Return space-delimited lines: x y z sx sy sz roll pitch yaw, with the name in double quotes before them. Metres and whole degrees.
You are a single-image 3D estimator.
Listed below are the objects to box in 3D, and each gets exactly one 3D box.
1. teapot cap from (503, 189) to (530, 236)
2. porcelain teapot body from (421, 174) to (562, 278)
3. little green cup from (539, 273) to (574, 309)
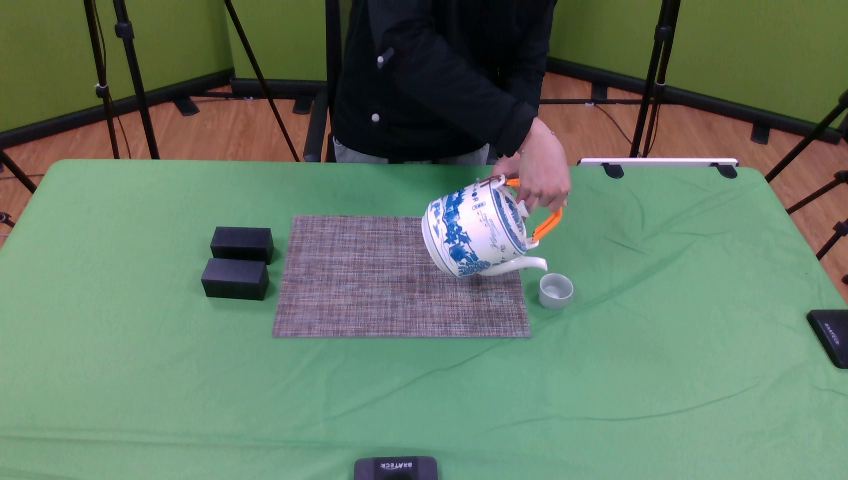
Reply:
"teapot cap" 0.153 -0.047 1.007 0.044 0.085 0.084 -19 43 19
"porcelain teapot body" 0.134 -0.012 1.037 0.225 0.206 0.144 -22 31 20
"little green cup" 0.241 0.096 1.113 0.061 0.039 0.061 3 47 -3
